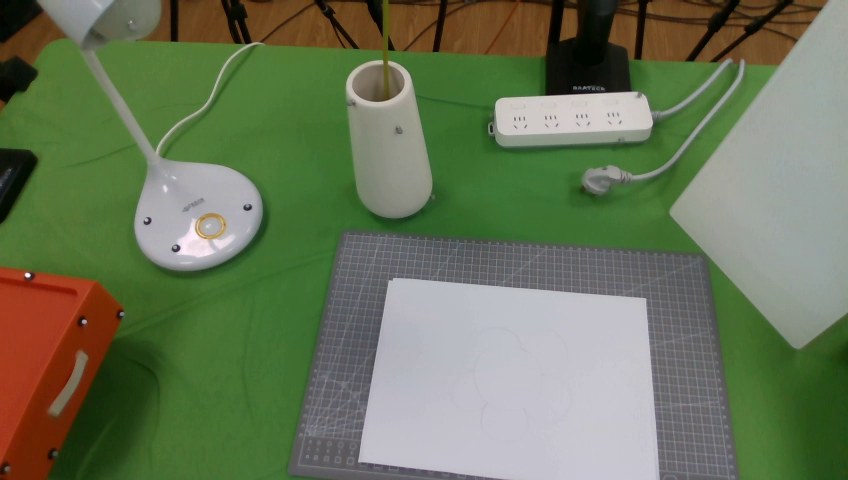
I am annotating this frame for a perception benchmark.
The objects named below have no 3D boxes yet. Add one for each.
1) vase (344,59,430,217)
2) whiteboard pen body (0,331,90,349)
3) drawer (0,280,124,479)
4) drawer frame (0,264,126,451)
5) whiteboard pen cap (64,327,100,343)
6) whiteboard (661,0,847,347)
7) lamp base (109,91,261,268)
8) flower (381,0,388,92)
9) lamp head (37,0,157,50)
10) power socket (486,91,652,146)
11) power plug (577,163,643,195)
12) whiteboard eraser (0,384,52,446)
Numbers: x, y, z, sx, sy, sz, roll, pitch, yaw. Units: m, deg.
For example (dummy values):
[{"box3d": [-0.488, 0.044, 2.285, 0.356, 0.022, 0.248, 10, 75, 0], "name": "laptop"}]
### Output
[{"box3d": [-0.046, -0.114, 0.717, 0.098, 0.202, 0.097, -2, 58, 3], "name": "vase"}, {"box3d": [-0.424, 0.107, 0.641, 0.141, 0.017, 0.017, -3, 58, -2], "name": "whiteboard pen body"}, {"box3d": [-0.447, 0.124, 0.606, 0.211, 0.074, 0.193, 8, 60, 7], "name": "drawer"}, {"box3d": [-0.454, 0.125, 0.608, 0.213, 0.083, 0.200, 8, 59, 5], "name": "drawer frame"}, {"box3d": [-0.364, 0.101, 0.642, 0.033, 0.018, 0.018, -5, 58, 7], "name": "whiteboard pen cap"}, {"box3d": [0.448, -0.071, 0.640, 0.144, 0.307, 0.215, -15, 56, -28], "name": "whiteboard"}, {"box3d": [-0.304, -0.081, 0.719, 0.178, 0.182, 0.160, 33, 65, 24], "name": "lamp base"}, {"box3d": [-0.041, -0.173, 0.656, 0.038, 0.365, 0.043, -6, 40, -9], "name": "flower"}, {"box3d": [-0.270, -0.227, 0.467, 0.123, 0.112, 0.112, 44, 64, -16], "name": "lamp head"}, {"box3d": [0.200, -0.168, 0.836, 0.227, 0.033, 0.071, -1, 59, 2], "name": "power socket"}, {"box3d": [0.233, -0.070, 0.772, 0.073, 0.053, 0.035, 26, 57, -5], "name": "power plug"}, {"box3d": [-0.428, 0.171, 0.595, 0.112, 0.042, 0.055, -1, 51, 11], "name": "whiteboard eraser"}]
